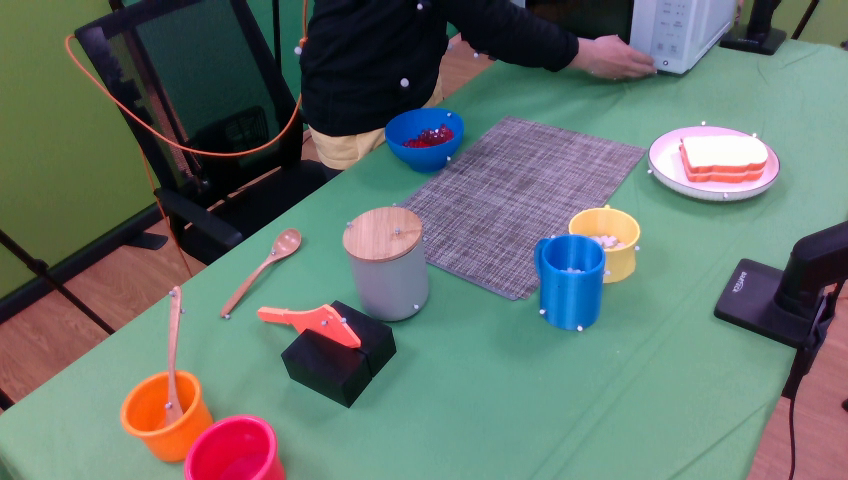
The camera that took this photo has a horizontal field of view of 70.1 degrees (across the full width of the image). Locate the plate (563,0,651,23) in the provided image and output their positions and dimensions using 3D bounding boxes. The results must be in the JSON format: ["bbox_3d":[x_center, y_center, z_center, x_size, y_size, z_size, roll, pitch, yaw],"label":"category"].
[{"bbox_3d":[0.441,-0.573,1.455,0.209,0.038,0.208,-6,42,6],"label":"plate"}]

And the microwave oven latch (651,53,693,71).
[{"bbox_3d":[0.532,-0.386,1.301,0.078,0.029,0.030,27,52,34],"label":"microwave oven latch"}]

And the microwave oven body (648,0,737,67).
[{"bbox_3d":[0.475,-0.601,1.411,0.438,0.261,0.327,23,50,32],"label":"microwave oven body"}]

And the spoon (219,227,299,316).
[{"bbox_3d":[-0.261,0.046,0.954,0.041,0.021,0.194,26,48,11],"label":"spoon"}]

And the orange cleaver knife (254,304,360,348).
[{"bbox_3d":[-0.161,0.115,0.813,0.210,0.077,0.012,-4,33,46],"label":"orange cleaver knife"}]

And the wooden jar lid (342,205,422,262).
[{"bbox_3d":[-0.055,-0.005,0.808,0.108,0.021,0.108,-6,41,6],"label":"wooden jar lid"}]

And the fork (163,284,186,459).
[{"bbox_3d":[-0.303,0.157,0.733,0.028,0.019,0.207,-3,84,12],"label":"fork"}]

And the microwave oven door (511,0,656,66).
[{"bbox_3d":[0.351,-0.539,1.350,0.353,0.245,0.039,24,50,31],"label":"microwave oven door"}]

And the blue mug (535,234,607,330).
[{"bbox_3d":[0.191,0.048,0.824,0.082,0.106,0.115,-26,44,-21],"label":"blue mug"}]

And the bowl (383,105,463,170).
[{"bbox_3d":[0.002,-0.185,1.143,0.151,0.077,0.150,-4,41,4],"label":"bowl"}]

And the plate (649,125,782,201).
[{"bbox_3d":[0.493,-0.128,1.036,0.207,0.039,0.206,-4,41,4],"label":"plate"}]

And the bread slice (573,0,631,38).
[{"bbox_3d":[0.428,-0.557,1.480,0.105,0.019,0.131,-27,70,-19],"label":"bread slice"}]

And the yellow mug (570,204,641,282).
[{"bbox_3d":[0.268,-0.005,0.904,0.099,0.064,0.130,7,41,15],"label":"yellow mug"}]

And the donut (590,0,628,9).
[{"bbox_3d":[0.438,-0.586,1.434,0.099,0.048,0.098,-2,53,3],"label":"donut"}]

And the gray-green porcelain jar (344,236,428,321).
[{"bbox_3d":[-0.049,0.042,0.849,0.106,0.127,0.105,-4,41,4],"label":"gray-green porcelain jar"}]
